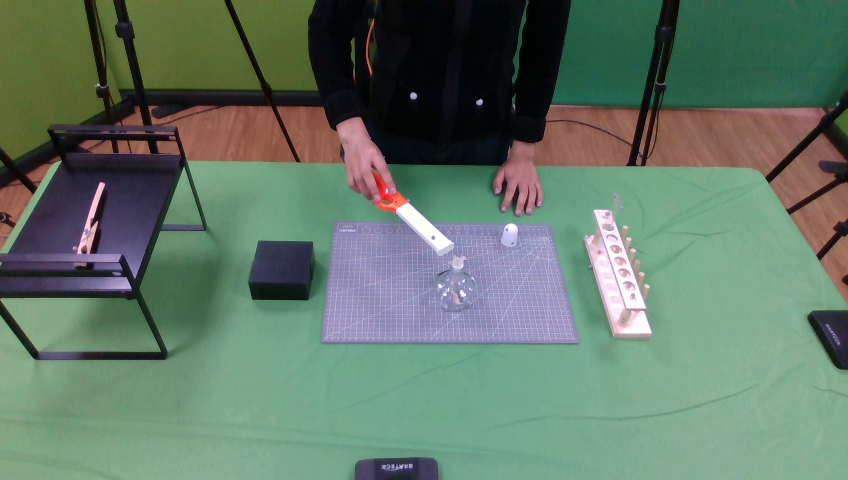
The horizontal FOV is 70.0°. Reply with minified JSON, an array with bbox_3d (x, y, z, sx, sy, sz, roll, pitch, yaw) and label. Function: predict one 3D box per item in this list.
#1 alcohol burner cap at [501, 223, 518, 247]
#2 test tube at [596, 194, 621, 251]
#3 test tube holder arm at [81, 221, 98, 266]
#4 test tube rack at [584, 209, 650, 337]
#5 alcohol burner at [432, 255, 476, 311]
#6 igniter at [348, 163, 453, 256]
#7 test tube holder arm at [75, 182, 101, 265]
[{"bbox_3d":[0.172,-0.013,1.206,0.034,0.048,0.033,1,45,-1],"label":"alcohol burner cap"},{"bbox_3d":[0.346,-0.029,1.141,0.017,0.151,0.017,0,50,0],"label":"test tube"},{"bbox_3d":[-0.503,0.004,0.910,0.010,0.015,0.087,26,32,-36],"label":"test tube holder arm"},{"bbox_3d":[0.365,0.056,1.129,0.067,0.085,0.240,1,46,-3],"label":"test tube rack"},{"bbox_3d":[0.055,0.070,1.068,0.078,0.119,0.077,3,45,-3],"label":"alcohol burner"},{"bbox_3d":[-0.047,-0.063,1.088,0.057,0.025,0.275,-31,54,-25],"label":"igniter"},{"bbox_3d":[-0.518,-0.030,0.937,0.013,0.015,0.177,24,33,-37],"label":"test tube holder arm"}]
